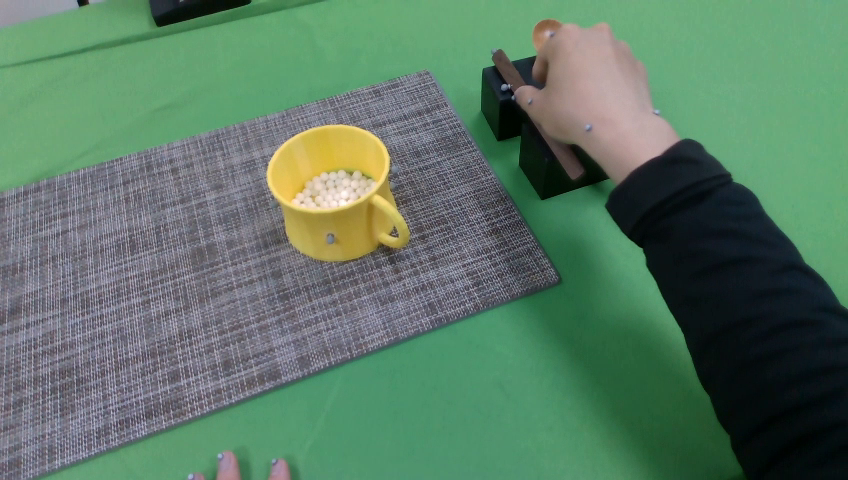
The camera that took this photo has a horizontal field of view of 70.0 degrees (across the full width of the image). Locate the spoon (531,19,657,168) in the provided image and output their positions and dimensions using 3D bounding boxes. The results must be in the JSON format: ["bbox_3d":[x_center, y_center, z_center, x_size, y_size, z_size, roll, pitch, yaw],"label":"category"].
[{"bbox_3d":[0.150,-0.135,0.540,0.042,0.022,0.191,-18,56,-12],"label":"spoon"}]

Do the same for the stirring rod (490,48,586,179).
[{"bbox_3d":[0.096,-0.117,0.533,0.014,0.006,0.174,-39,51,21],"label":"stirring rod"}]

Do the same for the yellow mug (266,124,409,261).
[{"bbox_3d":[-0.064,-0.034,0.508,0.130,0.064,0.099,31,61,23],"label":"yellow mug"}]
